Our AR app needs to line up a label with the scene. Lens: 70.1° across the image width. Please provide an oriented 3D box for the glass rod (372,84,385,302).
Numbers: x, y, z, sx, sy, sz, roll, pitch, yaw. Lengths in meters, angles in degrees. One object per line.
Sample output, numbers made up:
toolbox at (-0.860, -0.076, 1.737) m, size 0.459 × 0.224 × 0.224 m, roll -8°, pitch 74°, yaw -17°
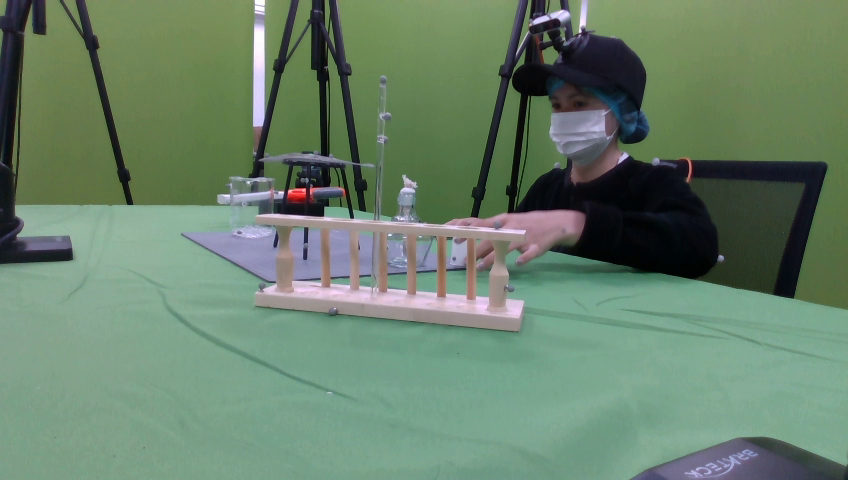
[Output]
glass rod at (-0.041, -0.041, 0.548) m, size 0.008 × 0.199 × 0.008 m, roll 2°, pitch 2°, yaw 0°

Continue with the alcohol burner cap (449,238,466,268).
alcohol burner cap at (0.051, 0.015, 0.828) m, size 0.034 × 0.048 × 0.034 m, roll 2°, pitch 5°, yaw 0°

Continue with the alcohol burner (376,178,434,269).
alcohol burner at (-0.025, -0.022, 0.800) m, size 0.078 × 0.119 × 0.078 m, roll 1°, pitch 6°, yaw 0°

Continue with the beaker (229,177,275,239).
beaker at (-0.292, -0.056, 1.023) m, size 0.074 × 0.100 × 0.083 m, roll -1°, pitch 8°, yaw -26°

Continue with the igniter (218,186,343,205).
igniter at (-0.287, -0.093, 1.257) m, size 0.278 × 0.025 × 0.057 m, roll -8°, pitch 13°, yaw -41°

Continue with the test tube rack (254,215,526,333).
test tube rack at (-0.030, 0.025, 0.558) m, size 0.242 × 0.085 × 0.067 m, roll 4°, pitch 7°, yaw 12°

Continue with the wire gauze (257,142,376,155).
wire gauze at (-0.155, -0.130, 0.871) m, size 0.124 × 0.011 × 0.122 m, roll -1°, pitch 7°, yaw 36°

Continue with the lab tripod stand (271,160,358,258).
lab tripod stand at (-0.160, -0.048, 0.876) m, size 0.148 × 0.131 × 0.148 m, roll 3°, pitch 5°, yaw 0°
